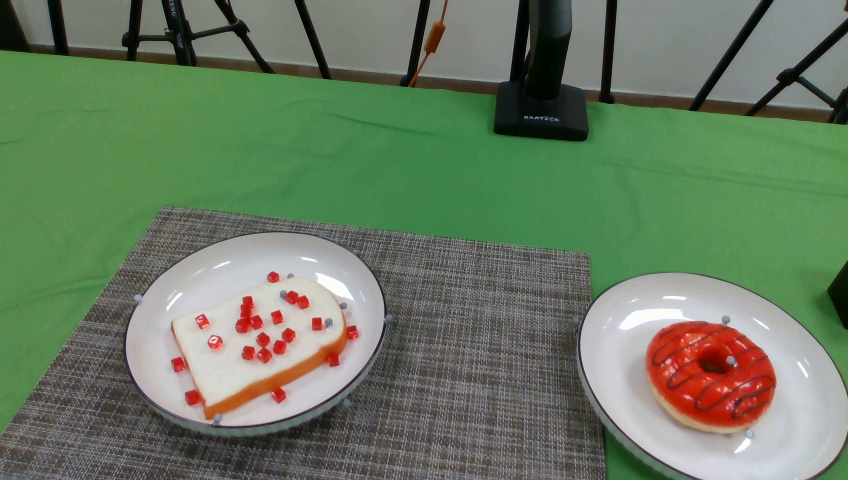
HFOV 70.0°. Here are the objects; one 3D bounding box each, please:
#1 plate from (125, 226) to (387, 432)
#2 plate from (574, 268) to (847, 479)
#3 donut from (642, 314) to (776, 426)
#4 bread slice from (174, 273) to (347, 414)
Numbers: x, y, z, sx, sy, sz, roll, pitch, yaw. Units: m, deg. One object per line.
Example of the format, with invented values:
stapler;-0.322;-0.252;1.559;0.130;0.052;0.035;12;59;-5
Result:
plate;-0.136;0.070;0.510;0.209;0.038;0.207;1;44;-1
plate;0.224;0.110;0.491;0.208;0.039;0.205;2;44;-1
donut;0.225;0.102;0.482;0.099;0.049;0.098;0;44;1
bread slice;-0.134;0.074;0.509;0.132;0.019;0.103;-24;50;-24
